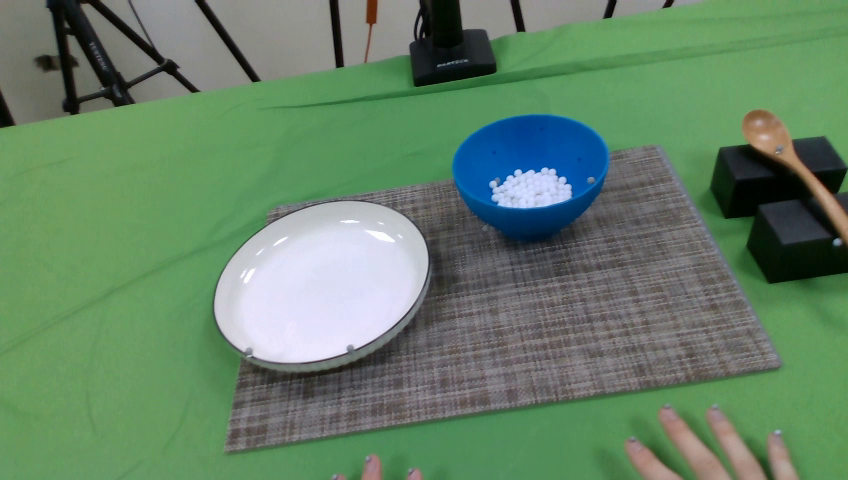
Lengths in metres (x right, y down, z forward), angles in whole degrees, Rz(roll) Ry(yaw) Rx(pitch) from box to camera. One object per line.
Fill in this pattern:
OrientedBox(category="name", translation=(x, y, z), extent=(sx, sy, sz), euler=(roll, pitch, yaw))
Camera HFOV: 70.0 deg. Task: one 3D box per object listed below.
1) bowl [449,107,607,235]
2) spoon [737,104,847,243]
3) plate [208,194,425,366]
OrientedBox(category="bowl", translation=(0.104, -0.058, 0.608), extent=(0.151, 0.077, 0.150), euler=(-6, 45, 7))
OrientedBox(category="spoon", translation=(0.334, -0.058, 0.536), extent=(0.041, 0.022, 0.191), euler=(-11, 46, 1))
OrientedBox(category="plate", translation=(-0.099, 0.038, 0.585), extent=(0.207, 0.039, 0.205), euler=(-6, 45, 6))
